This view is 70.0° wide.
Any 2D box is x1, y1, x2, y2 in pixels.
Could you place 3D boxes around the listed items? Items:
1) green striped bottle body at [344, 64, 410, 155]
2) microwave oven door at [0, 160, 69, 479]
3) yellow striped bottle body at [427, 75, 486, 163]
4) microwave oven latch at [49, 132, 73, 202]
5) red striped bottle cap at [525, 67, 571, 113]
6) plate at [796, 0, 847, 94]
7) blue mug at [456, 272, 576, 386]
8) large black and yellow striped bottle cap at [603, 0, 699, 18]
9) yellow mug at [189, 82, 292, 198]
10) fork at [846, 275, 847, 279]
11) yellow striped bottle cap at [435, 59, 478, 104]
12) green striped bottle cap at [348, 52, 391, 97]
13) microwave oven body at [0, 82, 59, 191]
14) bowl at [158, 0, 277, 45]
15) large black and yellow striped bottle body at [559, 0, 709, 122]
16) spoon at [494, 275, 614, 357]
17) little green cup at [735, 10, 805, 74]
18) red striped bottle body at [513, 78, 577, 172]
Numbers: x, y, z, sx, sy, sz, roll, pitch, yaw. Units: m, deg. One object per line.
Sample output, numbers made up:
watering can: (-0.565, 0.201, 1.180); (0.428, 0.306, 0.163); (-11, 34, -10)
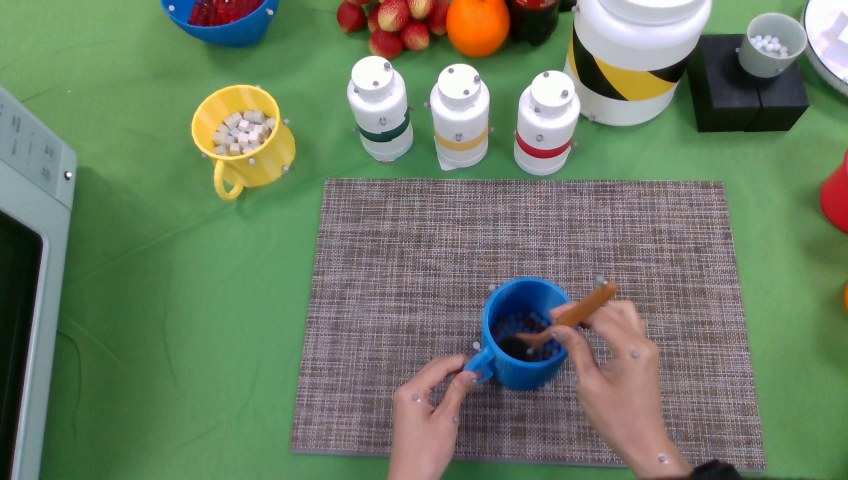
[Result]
green striped bottle body: (-0.051, -0.150, 0.673); (0.063, 0.120, 0.062); (-1, 67, 4)
microwave oven door: (-0.410, 0.078, 0.519); (0.039, 0.245, 0.353); (-8, 67, 2)
yellow striped bottle body: (0.037, -0.141, 0.662); (0.063, 0.121, 0.062); (-2, 67, 5)
microwave oven latch: (-0.426, -0.082, 0.696); (0.030, 0.030, 0.078); (-6, 68, 1)
red striped bottle cap: (0.124, -0.150, 0.602); (0.044, 0.018, 0.044); (0, 66, 0)
plate: (0.542, -0.239, 0.711); (0.209, 0.038, 0.207); (-1, 68, 4)
blue mug: (0.079, 0.095, 0.566); (0.116, 0.106, 0.081); (-33, 68, -9)
large black and yellow striped bottle cap: (0.214, -0.260, 0.573); (0.115, 0.019, 0.114); (-2, 66, 4)
yellow mug: (-0.214, -0.109, 0.697); (0.100, 0.064, 0.130); (10, 69, 8)
fork: (0.477, 0.063, 0.530); (0.028, 0.019, 0.205); (-36, 25, -10)
yellow striped bottle cap: (0.033, -0.161, 0.614); (0.044, 0.019, 0.044); (-1, 69, 3)
green striped bottle cap: (-0.056, -0.171, 0.625); (0.044, 0.020, 0.044); (-1, 67, 3)
microwave oven body: (-0.559, 0.062, 0.542); (0.326, 0.262, 0.438); (-8, 68, 1)
bowl: (-0.251, -0.306, 0.774); (0.151, 0.077, 0.150); (-1, 68, 3)
large black and yellow striped bottle body: (0.221, -0.229, 0.651); (0.131, 0.185, 0.130); (-2, 67, 4)
spoon: (0.105, 0.073, 0.510); (0.041, 0.194, 0.021); (42, 62, 5)
little green cup: (0.372, -0.213, 0.657); (0.061, 0.039, 0.061); (-1, 65, 2)
red striped bottle body: (0.129, -0.129, 0.651); (0.063, 0.120, 0.062); (-2, 66, 6)
